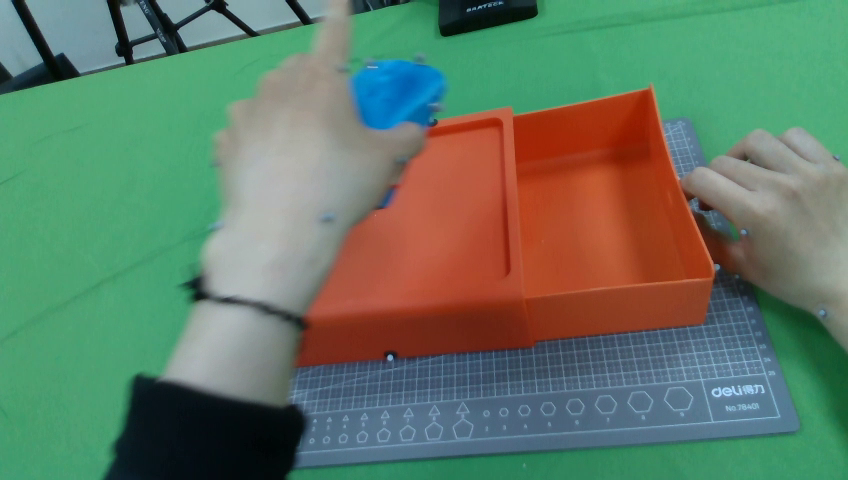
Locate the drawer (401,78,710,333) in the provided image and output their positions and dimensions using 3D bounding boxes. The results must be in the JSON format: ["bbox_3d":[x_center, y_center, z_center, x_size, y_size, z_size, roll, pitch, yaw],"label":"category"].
[{"bbox_3d":[0.091,-0.025,0.480,0.211,0.074,0.192,-8,52,12],"label":"drawer"}]

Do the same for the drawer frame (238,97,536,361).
[{"bbox_3d":[-0.021,-0.010,0.502,0.213,0.083,0.199,-8,51,13],"label":"drawer frame"}]

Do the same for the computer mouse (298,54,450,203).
[{"bbox_3d":[-0.032,-0.077,0.387,0.062,0.041,0.116,15,64,29],"label":"computer mouse"}]
